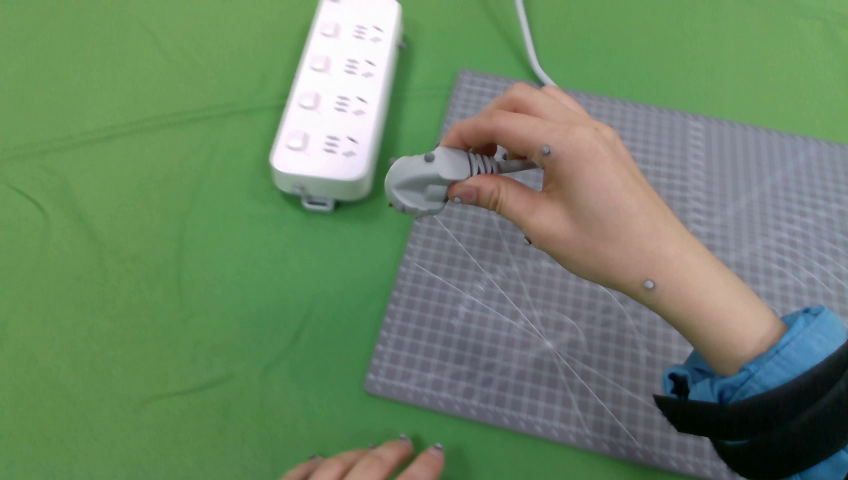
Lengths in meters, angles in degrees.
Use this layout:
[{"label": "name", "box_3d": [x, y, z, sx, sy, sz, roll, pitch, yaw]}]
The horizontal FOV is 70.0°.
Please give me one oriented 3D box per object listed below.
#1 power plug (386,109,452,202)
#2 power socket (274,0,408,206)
[{"label": "power plug", "box_3d": [0.005, -0.046, 0.304, 0.035, 0.072, 0.052, 22, 75, -23]}, {"label": "power socket", "box_3d": [-0.062, -0.127, 0.492, 0.072, 0.033, 0.225, 8, 58, 2]}]
